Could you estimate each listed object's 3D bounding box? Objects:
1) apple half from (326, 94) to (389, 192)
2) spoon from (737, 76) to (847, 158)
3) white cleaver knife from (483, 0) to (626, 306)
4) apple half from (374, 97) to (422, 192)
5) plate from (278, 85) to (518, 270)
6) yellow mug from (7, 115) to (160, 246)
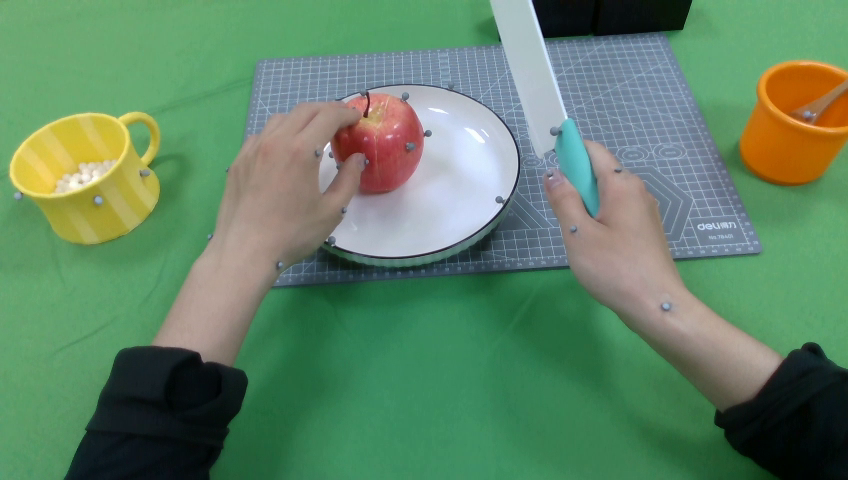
[{"bbox_3d":[-0.057,-0.084,0.527,0.053,0.075,0.080,5,57,12],"label":"apple half"},{"bbox_3d":[0.358,-0.131,0.508,0.022,0.194,0.041,25,41,-34],"label":"spoon"},{"bbox_3d":[0.088,-0.089,0.441,0.021,0.066,0.286,-17,89,-12],"label":"white cleaver knife"},{"bbox_3d":[-0.018,-0.080,0.522,0.032,0.082,0.080,4,54,12],"label":"apple half"},{"bbox_3d":[-0.023,-0.056,0.538,0.209,0.038,0.207,-1,54,2],"label":"plate"},{"bbox_3d":[-0.290,-0.064,0.543,0.099,0.064,0.130,26,58,20],"label":"yellow mug"}]
